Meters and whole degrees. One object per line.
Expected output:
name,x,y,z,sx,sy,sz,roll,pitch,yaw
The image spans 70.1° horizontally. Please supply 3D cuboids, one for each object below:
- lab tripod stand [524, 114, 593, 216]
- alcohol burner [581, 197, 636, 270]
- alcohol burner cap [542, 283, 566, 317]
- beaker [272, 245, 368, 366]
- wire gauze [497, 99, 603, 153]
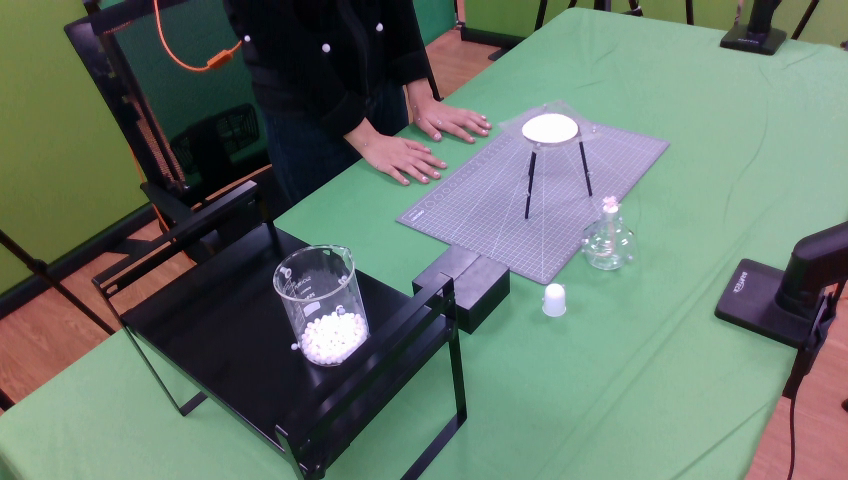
lab tripod stand,0.210,-0.127,1.001,0.148,0.132,0.147,-4,42,4
alcohol burner,0.270,-0.015,0.882,0.078,0.119,0.077,-5,42,5
alcohol burner cap,0.181,0.080,0.840,0.034,0.048,0.033,-3,40,3
beaker,-0.093,0.064,0.578,0.073,0.101,0.084,21,48,29
wire gauze,0.199,-0.180,0.962,0.125,0.011,0.120,-20,43,-13
